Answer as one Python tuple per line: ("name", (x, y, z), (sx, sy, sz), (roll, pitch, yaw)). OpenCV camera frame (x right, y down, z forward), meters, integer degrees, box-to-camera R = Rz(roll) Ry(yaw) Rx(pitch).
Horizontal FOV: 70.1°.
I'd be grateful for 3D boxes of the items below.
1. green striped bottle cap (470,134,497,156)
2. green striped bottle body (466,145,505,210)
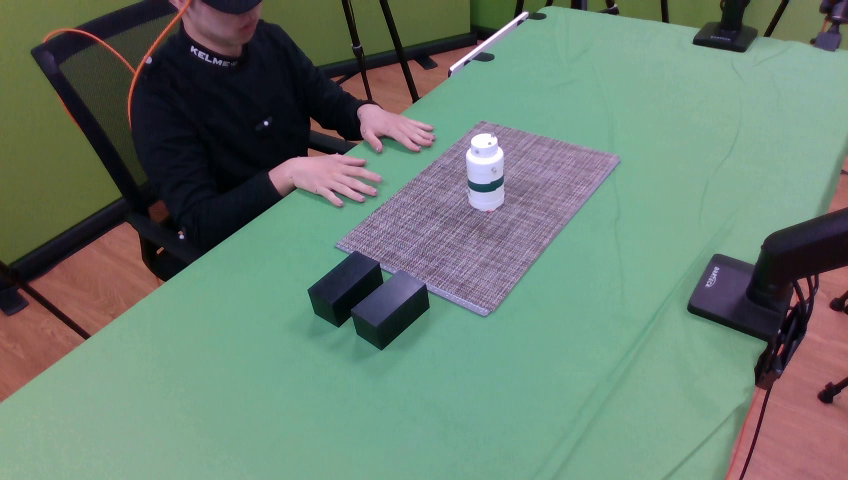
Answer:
("green striped bottle cap", (0.096, -0.152, 0.971), (0.044, 0.020, 0.044), (-3, 38, 3))
("green striped bottle body", (0.102, -0.113, 1.005), (0.063, 0.120, 0.063), (-4, 41, 4))
